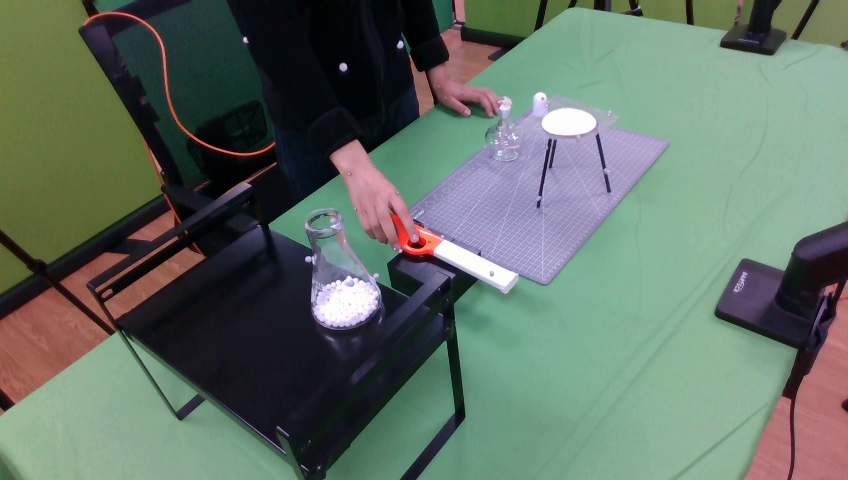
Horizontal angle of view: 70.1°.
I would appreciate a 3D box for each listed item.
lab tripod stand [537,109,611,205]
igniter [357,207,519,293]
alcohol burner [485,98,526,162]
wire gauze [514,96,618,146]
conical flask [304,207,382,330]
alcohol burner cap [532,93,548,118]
[{"bbox_3d":[0.244,-0.141,1.014,0.148,0.132,0.147,-3,39,3],"label":"lab tripod stand"},{"bbox_3d":[0.013,0.008,0.885,0.274,0.025,0.057,25,55,29],"label":"igniter"},{"bbox_3d":[0.151,-0.208,1.122,0.078,0.119,0.077,-5,38,4],"label":"alcohol burner"},{"bbox_3d":[0.229,-0.190,0.969,0.120,0.011,0.125,26,50,33],"label":"wire gauze"},{"bbox_3d":[-0.088,0.025,0.601,0.075,0.122,0.075,-5,40,5],"label":"conical flask"},{"bbox_3d":[0.240,-0.281,1.251,0.034,0.048,0.033,-4,42,4],"label":"alcohol burner cap"}]
